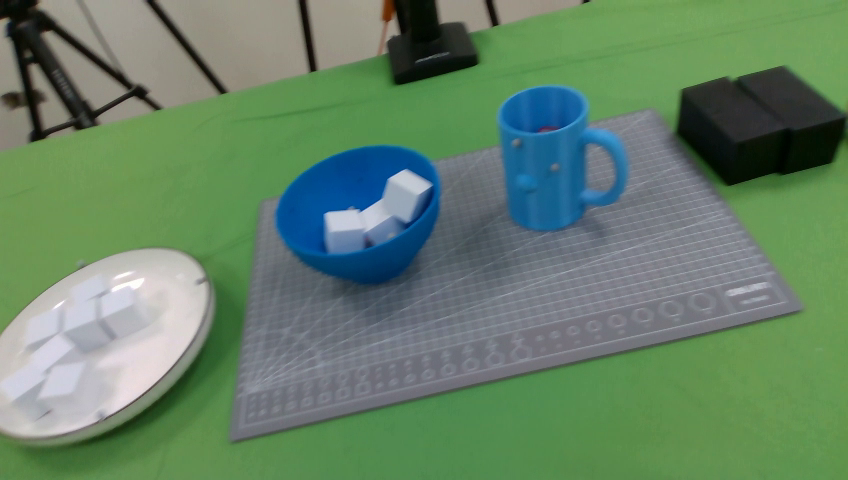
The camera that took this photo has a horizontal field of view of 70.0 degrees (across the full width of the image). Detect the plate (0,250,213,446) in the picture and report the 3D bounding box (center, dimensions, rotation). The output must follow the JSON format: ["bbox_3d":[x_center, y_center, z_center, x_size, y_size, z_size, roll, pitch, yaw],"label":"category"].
[{"bbox_3d":[-0.289,0.094,0.548,0.209,0.038,0.207,-7,43,7],"label":"plate"}]

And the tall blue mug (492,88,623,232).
[{"bbox_3d":[0.121,-0.073,0.553,0.107,0.109,0.077,-5,43,10],"label":"tall blue mug"}]

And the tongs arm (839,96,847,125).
[{"bbox_3d":[0.427,0.000,0.451,0.051,0.027,0.381,-5,44,6],"label":"tongs arm"}]

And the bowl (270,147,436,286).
[{"bbox_3d":[-0.056,-0.010,0.560,0.151,0.077,0.150,-8,43,8],"label":"bowl"}]
